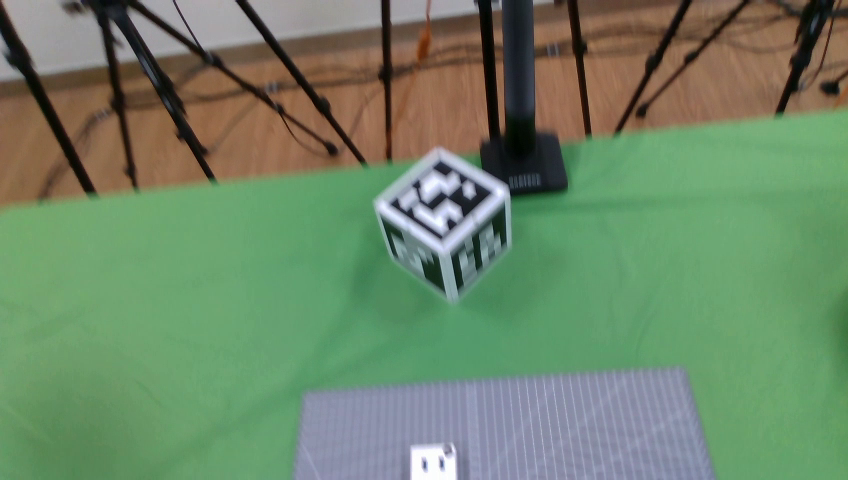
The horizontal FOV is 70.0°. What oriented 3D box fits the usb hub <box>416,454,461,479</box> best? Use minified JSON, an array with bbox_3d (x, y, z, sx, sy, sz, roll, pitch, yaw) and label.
[{"bbox_3d":[0.017,0.297,0.651,0.049,0.025,0.124,-5,55,5],"label":"usb hub"}]
